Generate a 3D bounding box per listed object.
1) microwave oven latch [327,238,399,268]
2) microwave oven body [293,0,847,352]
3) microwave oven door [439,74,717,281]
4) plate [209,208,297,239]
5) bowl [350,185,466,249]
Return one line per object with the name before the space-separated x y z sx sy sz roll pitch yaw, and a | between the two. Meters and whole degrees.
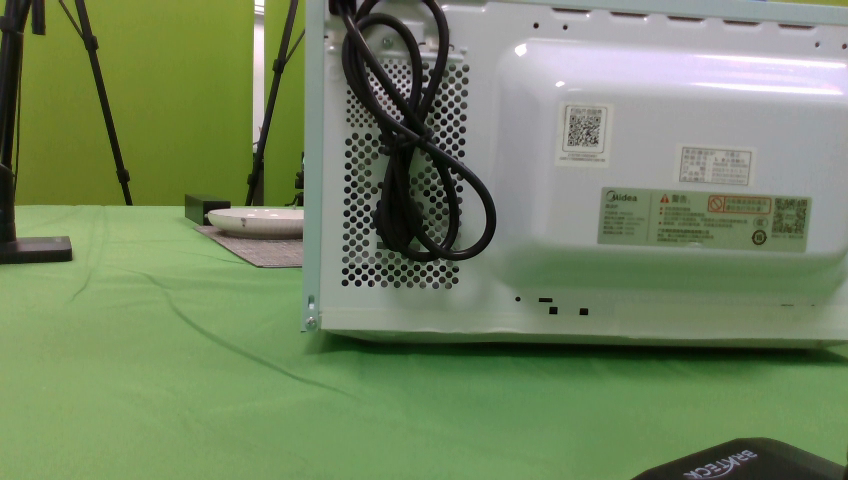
microwave oven latch | -0.069 0.015 0.694 0.079 0.029 0.030 3 7 -3
microwave oven body | 0.122 -0.055 0.550 0.442 0.260 0.325 3 7 -5
microwave oven door | 0.183 -0.089 0.801 0.354 0.243 0.039 7 9 32
plate | -0.271 -0.029 1.074 0.208 0.039 0.207 3 7 0
bowl | -0.021 -0.032 0.791 0.151 0.077 0.151 2 6 0
